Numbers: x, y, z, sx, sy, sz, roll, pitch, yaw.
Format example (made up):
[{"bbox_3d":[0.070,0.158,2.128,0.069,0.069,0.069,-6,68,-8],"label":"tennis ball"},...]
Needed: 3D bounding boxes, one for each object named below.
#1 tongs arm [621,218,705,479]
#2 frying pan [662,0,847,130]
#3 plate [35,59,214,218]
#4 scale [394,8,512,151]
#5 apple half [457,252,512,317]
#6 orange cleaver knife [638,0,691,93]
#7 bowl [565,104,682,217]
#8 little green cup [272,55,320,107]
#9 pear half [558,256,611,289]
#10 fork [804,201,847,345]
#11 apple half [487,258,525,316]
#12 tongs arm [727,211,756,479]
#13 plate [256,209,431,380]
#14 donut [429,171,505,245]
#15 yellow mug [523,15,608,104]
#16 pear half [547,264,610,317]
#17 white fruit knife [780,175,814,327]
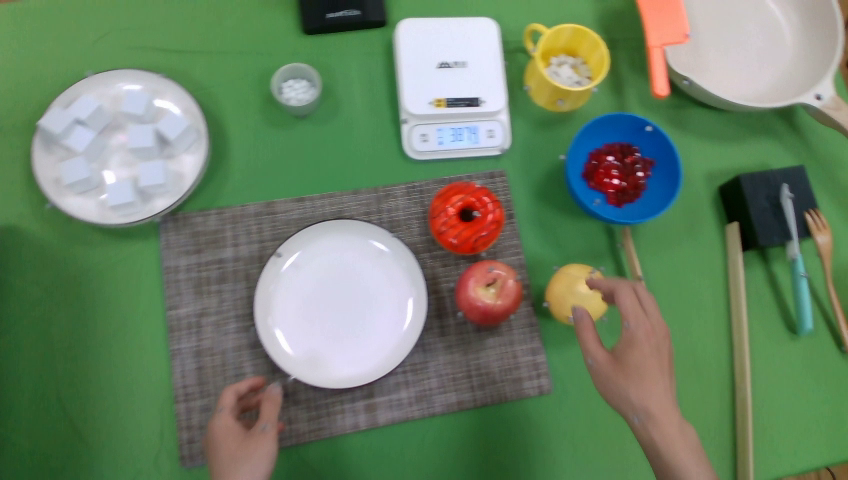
[{"bbox_3d":[0.323,0.155,0.775,0.051,0.026,0.383,-8,79,-12],"label":"tongs arm"},{"bbox_3d":[0.516,-0.247,0.854,0.307,0.103,0.485,-36,75,-12],"label":"frying pan"},{"bbox_3d":[-0.368,-0.125,0.759,0.208,0.039,0.206,2,77,-6],"label":"plate"},{"bbox_3d":[0.039,-0.222,0.831,0.149,0.031,0.200,-4,78,-7],"label":"scale"},{"bbox_3d":[0.068,0.049,0.746,0.053,0.075,0.080,24,78,3],"label":"apple half"},{"bbox_3d":[0.324,-0.302,0.827,0.077,0.012,0.210,-4,78,-4],"label":"orange cleaver knife"},{"bbox_3d":[0.251,-0.094,0.802,0.151,0.077,0.150,1,77,-6],"label":"bowl"},{"bbox_3d":[-0.167,-0.208,0.801,0.061,0.039,0.061,1,76,-6],"label":"little green cup"},{"bbox_3d":[0.204,0.037,0.760,0.070,0.088,0.031,21,76,2],"label":"pear half"},{"bbox_3d":[0.546,0.047,0.810,0.028,0.018,0.207,-18,95,-13],"label":"fork"},{"bbox_3d":[0.104,0.064,0.745,0.033,0.081,0.081,24,75,3],"label":"apple half"},{"bbox_3d":[0.408,0.150,0.788,0.028,0.028,0.385,7,77,-12],"label":"tongs arm"},{"bbox_3d":[-0.096,0.066,0.742,0.209,0.038,0.208,2,77,-6],"label":"plate"},{"bbox_3d":[0.055,-0.041,0.780,0.099,0.048,0.098,1,77,-4],"label":"donut"},{"bbox_3d":[0.184,-0.260,0.839,0.100,0.064,0.130,-41,83,-13],"label":"yellow mug"},{"bbox_3d":[0.190,0.065,0.741,0.076,0.110,0.056,22,75,3],"label":"pear half"},{"bbox_3d":[0.492,0.016,0.803,0.016,0.027,0.207,-11,93,-9],"label":"white fruit knife"}]
